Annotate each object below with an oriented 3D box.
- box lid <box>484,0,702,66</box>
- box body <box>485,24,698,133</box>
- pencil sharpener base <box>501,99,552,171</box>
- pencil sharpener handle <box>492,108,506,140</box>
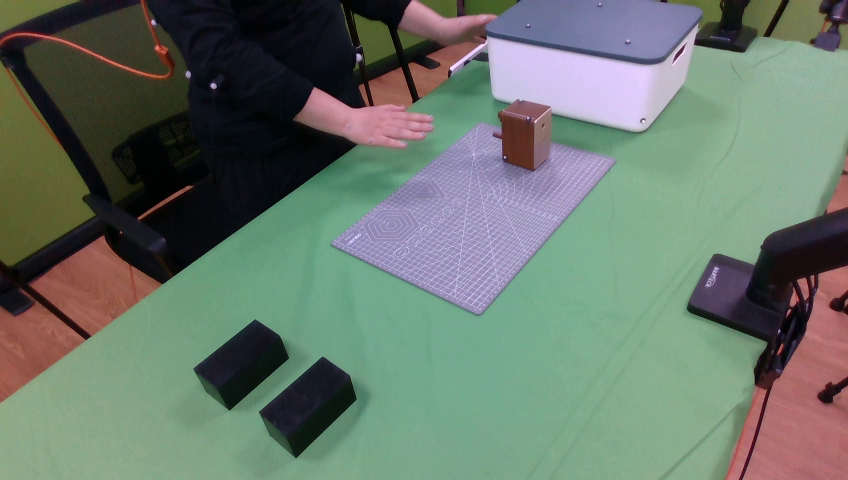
[{"bbox_3d":[0.333,-0.428,1.202,0.368,0.015,0.264,21,48,30],"label":"box lid"},{"bbox_3d":[0.340,-0.373,1.251,0.361,0.161,0.255,21,48,30],"label":"box body"},{"bbox_3d":[0.184,-0.191,1.097,0.076,0.107,0.061,23,49,32],"label":"pencil sharpener base"},{"bbox_3d":[0.141,-0.216,1.114,0.030,0.068,0.036,23,41,32],"label":"pencil sharpener handle"}]
